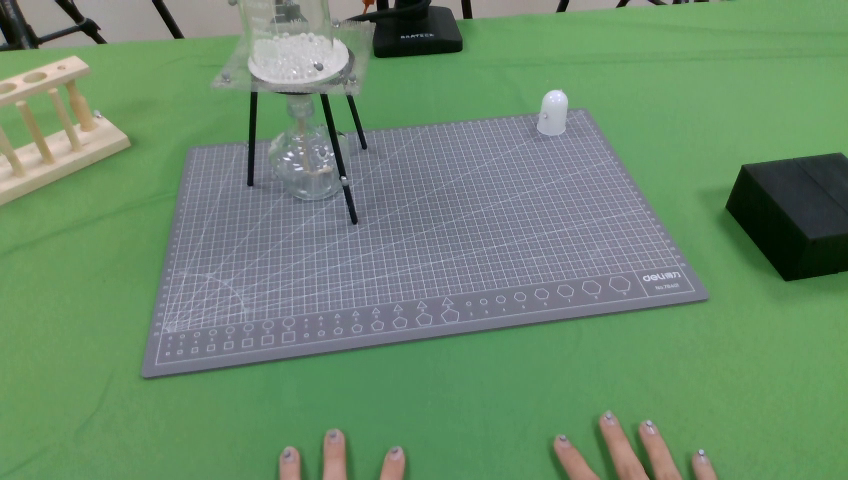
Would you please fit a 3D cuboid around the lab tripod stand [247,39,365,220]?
[{"bbox_3d":[-0.106,-0.105,0.563,0.148,0.133,0.147,-1,46,2],"label":"lab tripod stand"}]

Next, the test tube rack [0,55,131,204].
[{"bbox_3d":[-0.429,-0.089,0.589,0.066,0.086,0.242,34,54,30],"label":"test tube rack"}]

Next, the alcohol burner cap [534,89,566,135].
[{"bbox_3d":[0.140,-0.143,0.665,0.034,0.048,0.033,0,44,1],"label":"alcohol burner cap"}]

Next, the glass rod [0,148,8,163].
[{"bbox_3d":[-0.430,-0.161,0.570,0.008,0.201,0.008,2,37,-1],"label":"glass rod"}]

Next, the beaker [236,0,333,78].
[{"bbox_3d":[-0.115,-0.189,0.485,0.084,0.101,0.073,5,45,7],"label":"beaker"}]

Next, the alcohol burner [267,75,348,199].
[{"bbox_3d":[-0.112,-0.099,0.571,0.078,0.120,0.077,-1,42,2],"label":"alcohol burner"}]

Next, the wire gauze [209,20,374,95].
[{"bbox_3d":[-0.110,-0.159,0.524,0.125,0.011,0.120,0,43,6],"label":"wire gauze"}]
